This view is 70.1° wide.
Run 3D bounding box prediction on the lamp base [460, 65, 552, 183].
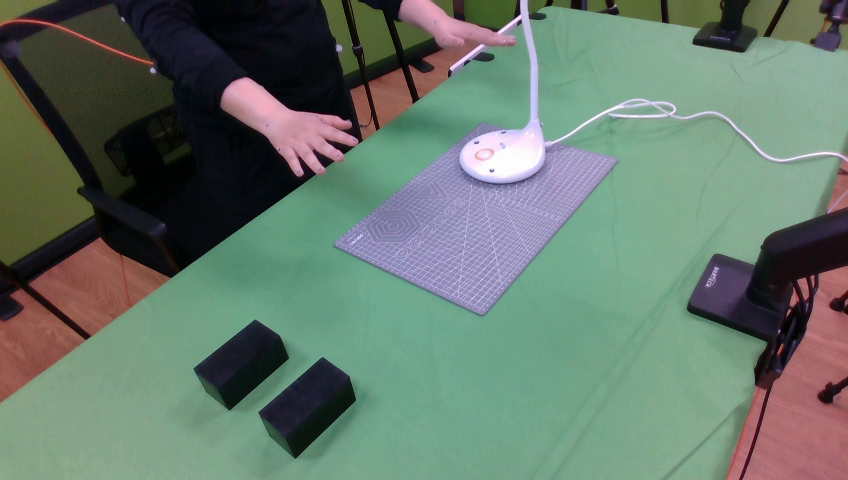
[{"bbox_3d":[0.149,-0.218,1.078,0.180,0.181,0.159,-19,41,-17],"label":"lamp base"}]
